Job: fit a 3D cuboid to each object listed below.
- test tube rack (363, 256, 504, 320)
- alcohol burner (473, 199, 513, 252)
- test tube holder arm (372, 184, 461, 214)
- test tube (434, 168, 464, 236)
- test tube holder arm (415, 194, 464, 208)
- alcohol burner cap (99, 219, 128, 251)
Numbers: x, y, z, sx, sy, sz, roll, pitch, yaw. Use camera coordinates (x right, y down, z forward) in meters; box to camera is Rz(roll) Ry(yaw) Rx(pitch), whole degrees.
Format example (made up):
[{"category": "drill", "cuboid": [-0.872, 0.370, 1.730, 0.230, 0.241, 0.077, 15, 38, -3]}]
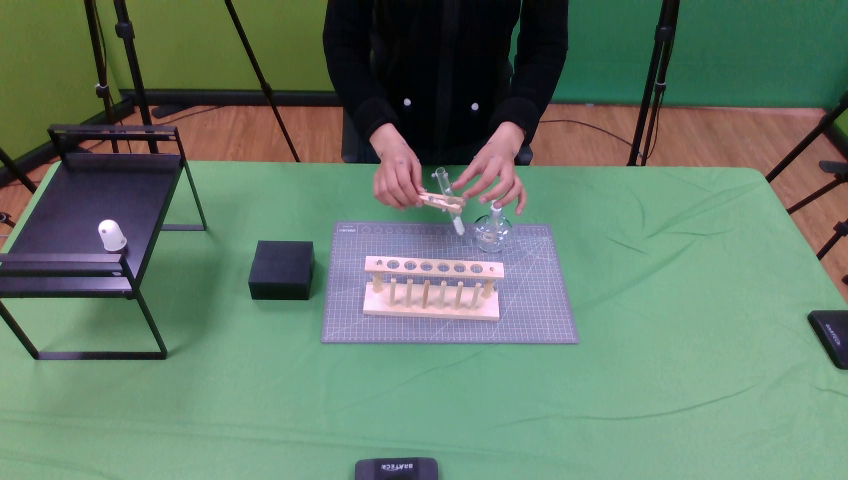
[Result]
[{"category": "test tube rack", "cuboid": [0.015, 0.085, 1.069, 0.242, 0.085, 0.066, 3, 46, -2]}, {"category": "alcohol burner", "cuboid": [0.135, -0.034, 1.174, 0.078, 0.120, 0.077, 1, 48, -1]}, {"category": "test tube holder arm", "cuboid": [-0.016, -0.070, 1.016, 0.177, 0.015, 0.013, 15, 53, 31]}, {"category": "test tube", "cuboid": [0.042, -0.058, 0.984, 0.017, 0.151, 0.017, -10, 47, 11]}, {"category": "test tube holder arm", "cuboid": [0.025, -0.065, 0.998, 0.087, 0.015, 0.010, 8, 51, 25]}, {"category": "alcohol burner cap", "cuboid": [-0.467, -0.010, 0.907, 0.034, 0.048, 0.033, 2, 47, -2]}]
